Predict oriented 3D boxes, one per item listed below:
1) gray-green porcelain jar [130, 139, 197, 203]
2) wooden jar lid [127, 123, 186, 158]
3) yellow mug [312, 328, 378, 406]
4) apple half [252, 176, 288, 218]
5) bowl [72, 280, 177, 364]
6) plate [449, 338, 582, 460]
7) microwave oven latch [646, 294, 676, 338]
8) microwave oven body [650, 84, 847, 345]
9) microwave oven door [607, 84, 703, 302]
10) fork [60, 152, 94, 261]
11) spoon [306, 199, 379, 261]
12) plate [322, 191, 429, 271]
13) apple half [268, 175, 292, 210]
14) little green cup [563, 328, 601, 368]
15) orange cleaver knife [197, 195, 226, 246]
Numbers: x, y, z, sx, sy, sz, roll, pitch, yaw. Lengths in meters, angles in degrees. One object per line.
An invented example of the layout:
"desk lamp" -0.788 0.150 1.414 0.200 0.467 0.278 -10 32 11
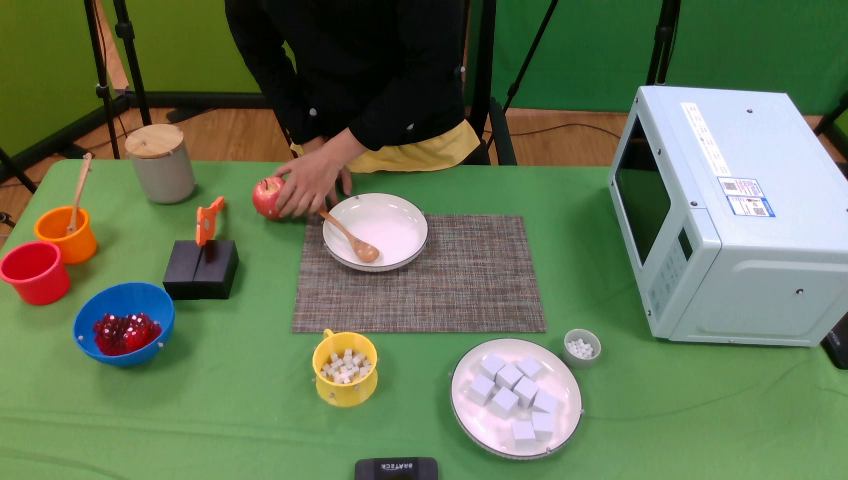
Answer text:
"gray-green porcelain jar" -0.522 -0.148 1.224 0.106 0.127 0.105 2 47 -2
"wooden jar lid" -0.519 -0.190 1.179 0.108 0.021 0.107 2 44 -2
"yellow mug" -0.132 0.193 0.971 0.100 0.064 0.130 -22 51 -22
"apple half" -0.310 -0.079 1.197 0.053 0.075 0.080 -29 61 -16
"bowl" -0.472 0.147 0.982 0.151 0.077 0.150 2 46 -2
"plate" 0.141 0.251 0.956 0.208 0.039 0.206 2 46 -2
"microwave oven latch" 0.412 0.133 1.061 0.030 0.029 0.078 3 46 0
"microwave oven body" 0.569 -0.054 1.116 0.326 0.261 0.439 2 46 -1
"microwave oven door" 0.424 -0.096 1.138 0.039 0.245 0.353 3 46 -1
"fork" -0.638 -0.063 1.119 0.028 0.018 0.207 12 90 7
"spoon" -0.160 -0.024 1.171 0.193 0.022 0.041 41 73 15
"plate" -0.094 -0.015 1.185 0.209 0.038 0.208 2 46 -2
"apple half" -0.280 -0.094 1.204 0.033 0.081 0.081 -25 53 -26
"little green cup" 0.265 0.185 1.025 0.061 0.039 0.061 1 45 -1
"orange cleaver knife" -0.405 -0.041 1.157 0.012 0.077 0.210 2 14 -7
